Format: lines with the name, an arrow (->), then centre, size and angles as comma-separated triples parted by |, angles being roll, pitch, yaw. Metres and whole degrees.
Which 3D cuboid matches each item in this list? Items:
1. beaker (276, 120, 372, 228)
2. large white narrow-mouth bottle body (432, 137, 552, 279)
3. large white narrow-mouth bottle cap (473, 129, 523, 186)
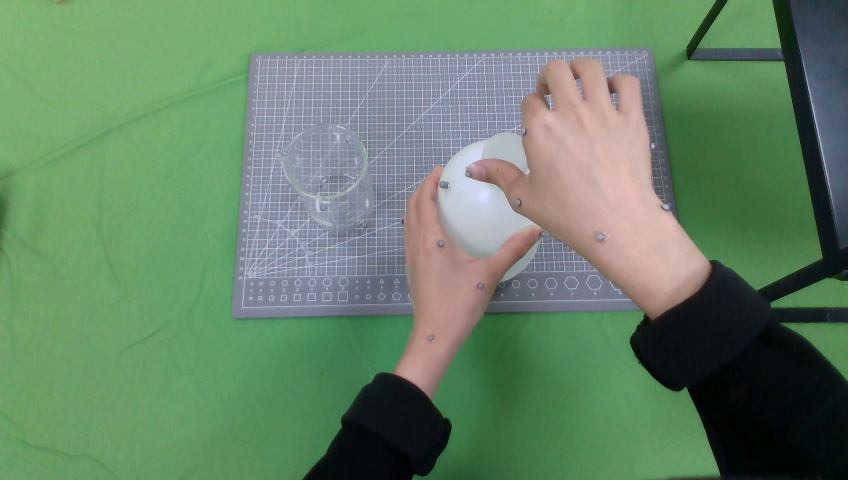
beaker -> -0.091, -0.058, 0.582 | 0.084, 0.101, 0.073 | 9, 72, 3
large white narrow-mouth bottle body -> 0.058, -0.033, 0.526 | 0.102, 0.195, 0.101 | 0, 73, 2
large white narrow-mouth bottle cap -> 0.054, -0.059, 0.438 | 0.038, 0.024, 0.037 | 0, 74, 1
